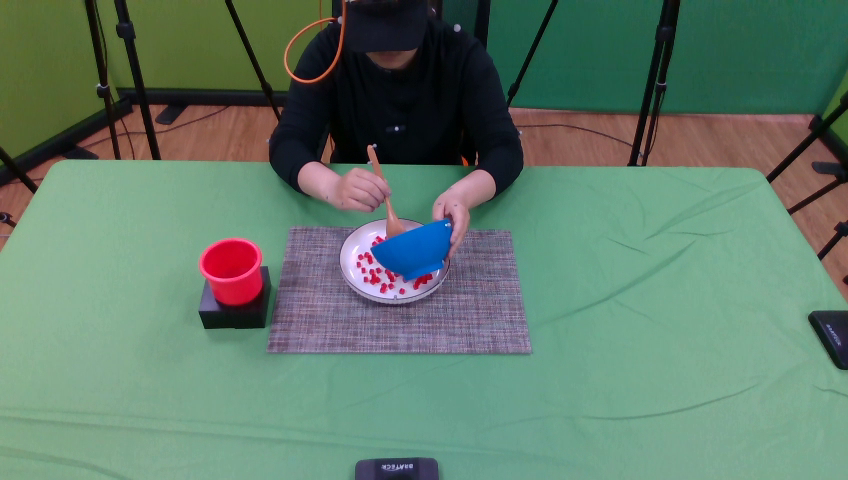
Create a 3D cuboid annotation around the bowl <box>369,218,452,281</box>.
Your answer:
[{"bbox_3d":[-0.012,0.024,1.056,0.151,0.151,0.076,-19,86,-20],"label":"bowl"}]

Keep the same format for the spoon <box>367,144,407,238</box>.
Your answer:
[{"bbox_3d":[-0.069,-0.077,1.076,0.041,0.194,0.021,-15,7,20],"label":"spoon"}]

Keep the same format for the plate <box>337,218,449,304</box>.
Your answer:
[{"bbox_3d":[-0.058,0.042,1.136,0.208,0.039,0.206,2,46,-2],"label":"plate"}]
